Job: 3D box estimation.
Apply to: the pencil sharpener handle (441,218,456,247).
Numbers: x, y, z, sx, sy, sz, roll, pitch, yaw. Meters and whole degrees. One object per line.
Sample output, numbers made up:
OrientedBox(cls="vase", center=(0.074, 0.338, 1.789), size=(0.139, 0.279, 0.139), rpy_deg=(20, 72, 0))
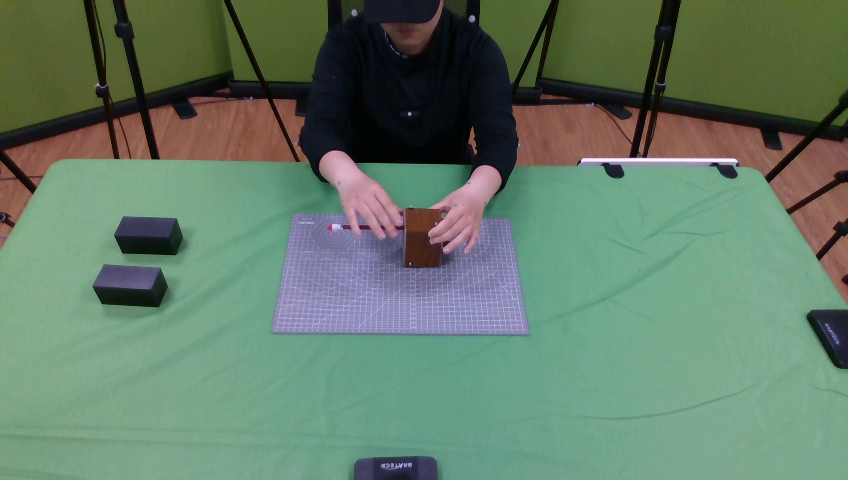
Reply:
OrientedBox(cls="pencil sharpener handle", center=(0.048, -0.012, 1.133), size=(0.031, 0.068, 0.036), rpy_deg=(0, 49, -5))

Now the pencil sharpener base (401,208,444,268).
OrientedBox(cls="pencil sharpener base", center=(-0.003, -0.002, 1.137), size=(0.077, 0.107, 0.061), rpy_deg=(0, 46, -5))

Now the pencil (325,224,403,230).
OrientedBox(cls="pencil", center=(-0.083, -0.023, 1.110), size=(0.194, 0.012, 0.012), rpy_deg=(0, 46, -6))
